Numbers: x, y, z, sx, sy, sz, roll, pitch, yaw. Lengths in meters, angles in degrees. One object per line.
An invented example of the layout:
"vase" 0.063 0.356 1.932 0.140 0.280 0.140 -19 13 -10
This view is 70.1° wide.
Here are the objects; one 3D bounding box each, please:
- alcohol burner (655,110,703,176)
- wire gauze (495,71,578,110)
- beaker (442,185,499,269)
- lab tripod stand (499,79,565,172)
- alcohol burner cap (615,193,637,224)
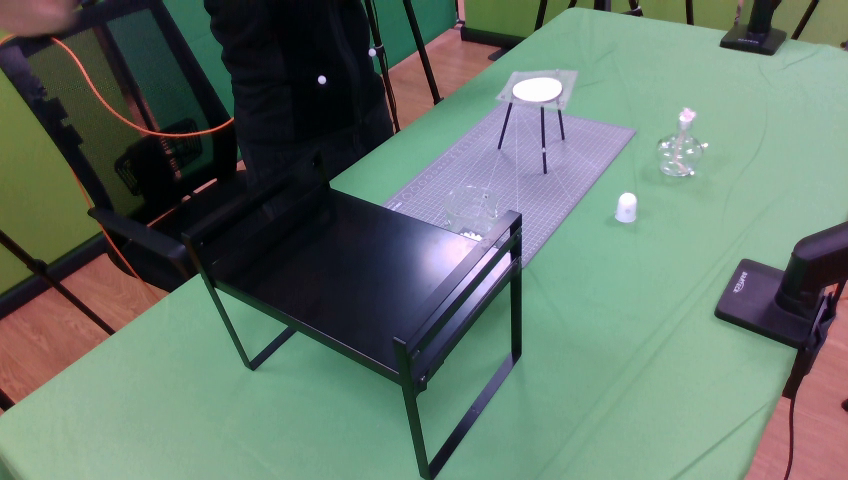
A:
"alcohol burner" 0.441 -0.170 1.037 0.078 0.119 0.077 -2 40 2
"wire gauze" 0.199 -0.268 1.065 0.124 0.011 0.121 10 44 22
"beaker" 0.071 -0.015 0.844 0.074 0.101 0.083 -35 48 -29
"lab tripod stand" 0.204 -0.216 1.107 0.148 0.132 0.147 -6 41 5
"alcohol burner cap" 0.327 -0.054 0.974 0.034 0.048 0.033 -4 38 4
